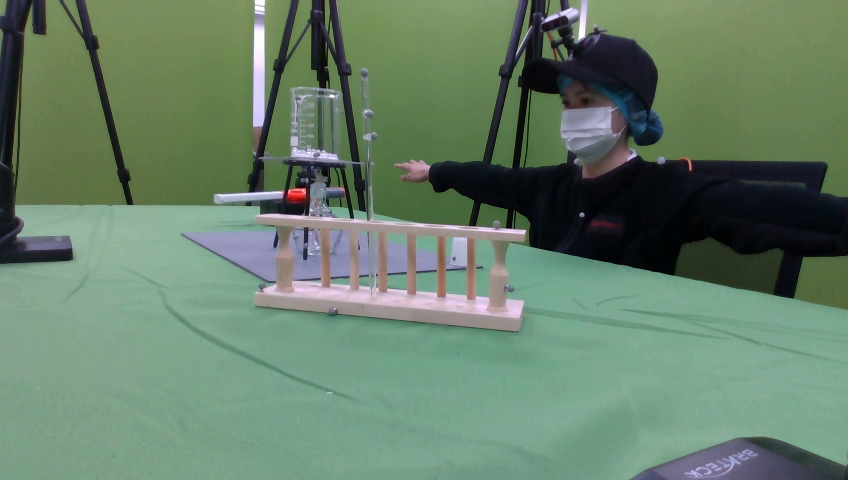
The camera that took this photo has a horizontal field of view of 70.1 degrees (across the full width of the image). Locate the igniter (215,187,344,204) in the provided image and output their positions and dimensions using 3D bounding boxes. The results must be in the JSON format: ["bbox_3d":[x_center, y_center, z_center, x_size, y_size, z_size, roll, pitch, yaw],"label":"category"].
[{"bbox_3d":[-0.290,-0.093,1.256,0.278,0.025,0.057,-6,11,-34],"label":"igniter"}]

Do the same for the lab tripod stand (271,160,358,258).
[{"bbox_3d":[-0.159,-0.048,0.876,0.148,0.131,0.148,3,5,0],"label":"lab tripod stand"}]

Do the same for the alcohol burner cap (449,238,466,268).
[{"bbox_3d":[0.051,0.014,0.827,0.034,0.048,0.034,2,5,0],"label":"alcohol burner cap"}]

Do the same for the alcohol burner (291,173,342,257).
[{"bbox_3d":[-0.155,-0.037,0.870,0.078,0.119,0.078,1,6,0],"label":"alcohol burner"}]

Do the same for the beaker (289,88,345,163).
[{"bbox_3d":[-0.157,-0.160,0.862,0.083,0.100,0.074,7,7,34],"label":"beaker"}]

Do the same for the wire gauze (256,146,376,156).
[{"bbox_3d":[-0.155,-0.128,0.871,0.124,0.011,0.122,2,7,36],"label":"wire gauze"}]

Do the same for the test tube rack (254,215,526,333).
[{"bbox_3d":[-0.030,0.025,0.557,0.242,0.085,0.067,4,7,12],"label":"test tube rack"}]

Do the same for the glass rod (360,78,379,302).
[{"bbox_3d":[-0.047,-0.038,0.526,0.008,0.199,0.008,-2,14,1],"label":"glass rod"}]
